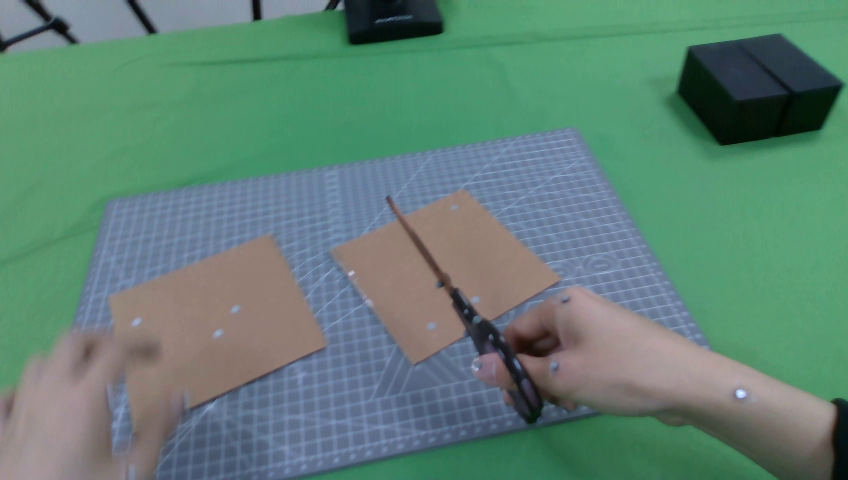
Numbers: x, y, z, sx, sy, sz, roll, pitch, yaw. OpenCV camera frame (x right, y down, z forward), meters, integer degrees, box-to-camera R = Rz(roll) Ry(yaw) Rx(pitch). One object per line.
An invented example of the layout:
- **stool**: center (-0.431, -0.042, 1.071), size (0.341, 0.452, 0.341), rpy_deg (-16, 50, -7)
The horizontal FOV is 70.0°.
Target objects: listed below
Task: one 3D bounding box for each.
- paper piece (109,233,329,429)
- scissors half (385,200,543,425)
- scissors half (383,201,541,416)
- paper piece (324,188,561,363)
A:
- **paper piece**: center (-0.158, 0.059, 0.454), size (0.136, 0.004, 0.134), rpy_deg (-22, 48, -18)
- **scissors half**: center (0.019, 0.041, 0.387), size (0.013, 0.040, 0.174), rpy_deg (-31, 72, -9)
- **scissors half**: center (0.015, 0.032, 0.369), size (0.013, 0.040, 0.173), rpy_deg (-34, 55, -5)
- **paper piece**: center (0.012, 0.019, 0.481), size (0.138, 0.009, 0.134), rpy_deg (-25, 53, -21)
